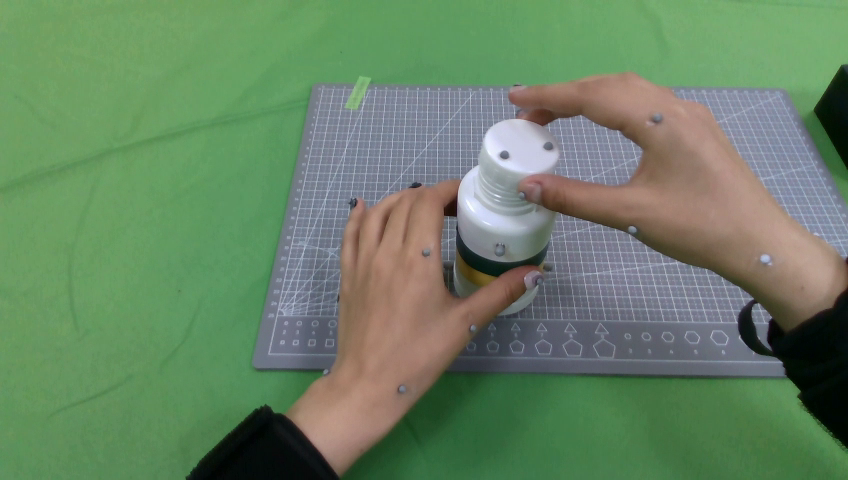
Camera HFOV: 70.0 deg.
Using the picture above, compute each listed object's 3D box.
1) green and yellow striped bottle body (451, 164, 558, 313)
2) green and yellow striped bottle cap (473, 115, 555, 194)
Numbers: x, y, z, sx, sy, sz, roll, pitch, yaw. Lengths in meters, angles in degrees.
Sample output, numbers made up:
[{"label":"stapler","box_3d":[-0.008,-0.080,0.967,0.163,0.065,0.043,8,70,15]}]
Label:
[{"label":"green and yellow striped bottle body","box_3d":[0.050,-0.008,0.395,0.063,0.121,0.062,0,53,1]},{"label":"green and yellow striped bottle cap","box_3d":[0.051,-0.050,0.344,0.045,0.020,0.045,4,56,-6]}]
